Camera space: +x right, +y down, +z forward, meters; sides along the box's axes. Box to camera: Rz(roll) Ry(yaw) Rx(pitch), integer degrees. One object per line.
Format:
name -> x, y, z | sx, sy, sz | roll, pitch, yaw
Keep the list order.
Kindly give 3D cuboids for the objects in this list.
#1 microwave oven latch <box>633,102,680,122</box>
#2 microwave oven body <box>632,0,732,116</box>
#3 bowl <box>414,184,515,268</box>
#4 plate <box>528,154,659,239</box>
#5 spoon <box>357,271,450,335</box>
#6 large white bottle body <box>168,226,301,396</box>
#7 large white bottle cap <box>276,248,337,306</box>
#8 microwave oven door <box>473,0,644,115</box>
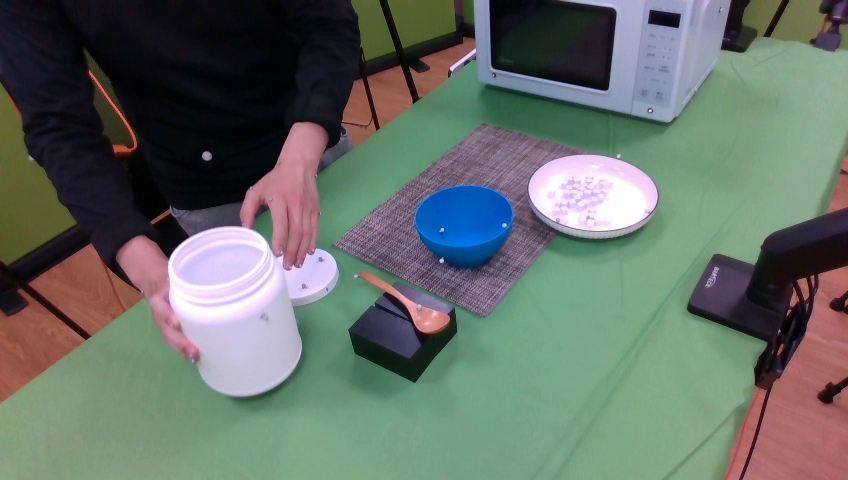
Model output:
microwave oven latch -> 0.444, -0.249, 1.157 | 0.078, 0.029, 0.030 | 21, 49, 30
microwave oven body -> 0.377, -0.462, 1.267 | 0.438, 0.261, 0.327 | 21, 48, 30
bowl -> 0.063, -0.010, 0.922 | 0.151, 0.077, 0.150 | -4, 40, 4
plate -> 0.274, -0.069, 0.993 | 0.209, 0.038, 0.208 | -2, 42, 2
spoon -> -0.034, 0.078, 0.812 | 0.042, 0.022, 0.192 | -36, 43, -23
large white bottle body -> -0.229, 0.086, 0.737 | 0.130, 0.185, 0.130 | -1, 40, 1
large white bottle cap -> -0.193, 0.056, 0.934 | 0.115, 0.018, 0.114 | -4, 41, 4
microwave oven door -> 0.257, -0.396, 1.199 | 0.353, 0.245, 0.039 | 21, 48, 29
